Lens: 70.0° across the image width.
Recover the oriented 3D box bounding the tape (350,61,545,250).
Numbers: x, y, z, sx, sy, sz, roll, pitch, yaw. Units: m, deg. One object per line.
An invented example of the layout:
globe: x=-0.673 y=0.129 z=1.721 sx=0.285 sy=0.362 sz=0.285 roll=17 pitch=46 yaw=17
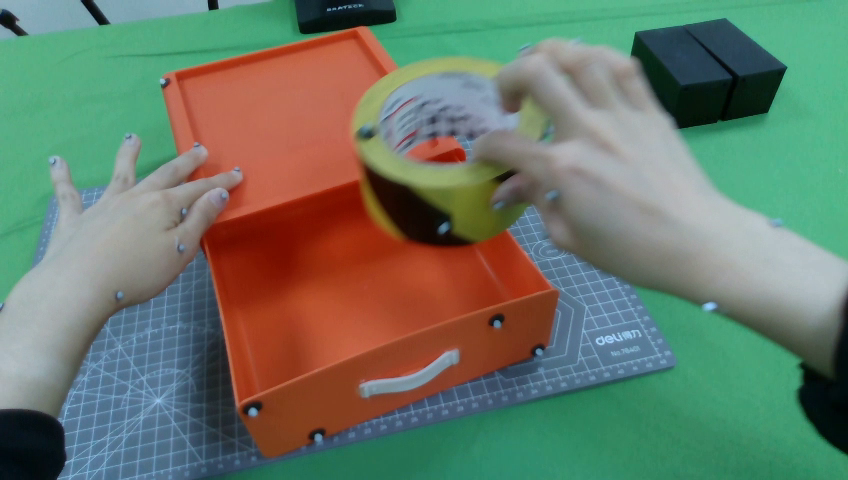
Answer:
tape: x=0.014 y=-0.054 z=0.366 sx=0.117 sy=0.053 sz=0.115 roll=-1 pitch=51 yaw=2

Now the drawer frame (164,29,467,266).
drawer frame: x=-0.098 y=-0.078 z=0.515 sx=0.202 sy=0.083 sz=0.211 roll=-20 pitch=48 yaw=-14

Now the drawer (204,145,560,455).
drawer: x=-0.044 y=0.015 z=0.426 sx=0.195 sy=0.074 sz=0.209 roll=-18 pitch=48 yaw=-13
